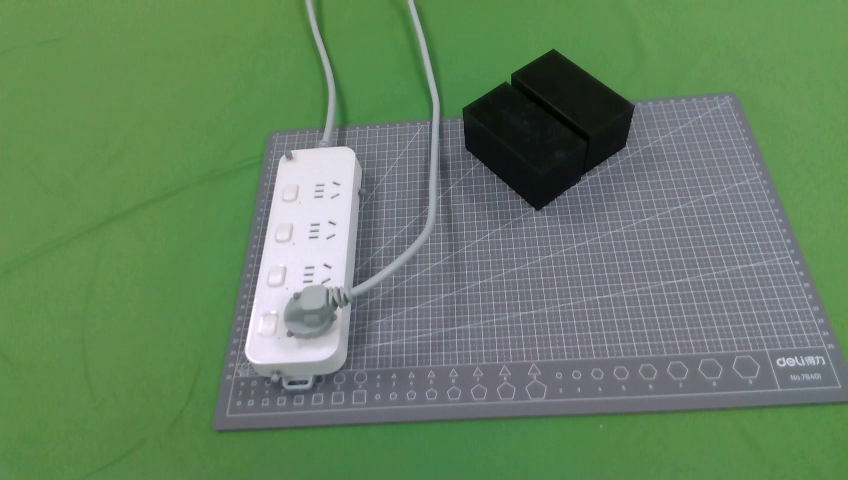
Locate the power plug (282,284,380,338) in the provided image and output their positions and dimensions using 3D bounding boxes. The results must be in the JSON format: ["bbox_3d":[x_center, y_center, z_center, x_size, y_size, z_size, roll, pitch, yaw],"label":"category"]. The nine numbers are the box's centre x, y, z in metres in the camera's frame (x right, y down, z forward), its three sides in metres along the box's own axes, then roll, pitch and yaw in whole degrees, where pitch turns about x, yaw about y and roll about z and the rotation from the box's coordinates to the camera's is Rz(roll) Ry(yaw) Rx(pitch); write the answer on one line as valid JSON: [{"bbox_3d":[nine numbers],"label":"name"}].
[{"bbox_3d":[-0.067,0.056,0.436,0.072,0.053,0.035,7,57,11],"label":"power plug"}]

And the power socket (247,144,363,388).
[{"bbox_3d":[-0.093,0.008,0.500,0.072,0.033,0.224,-2,56,5],"label":"power socket"}]
